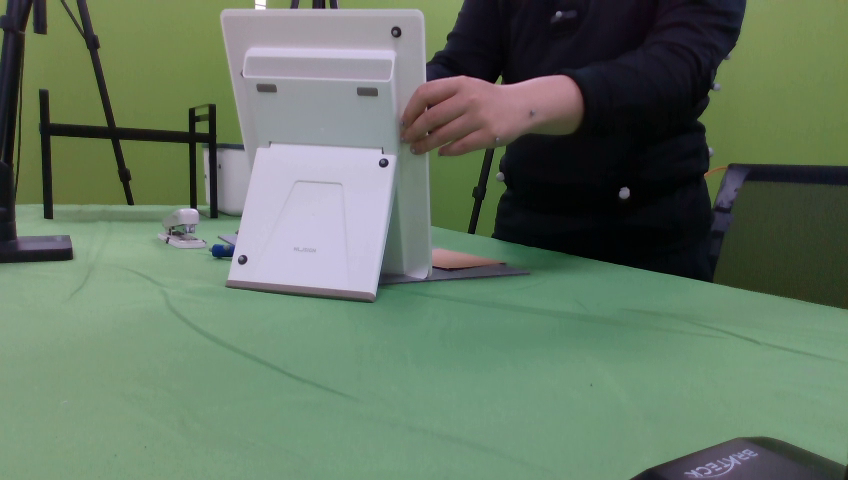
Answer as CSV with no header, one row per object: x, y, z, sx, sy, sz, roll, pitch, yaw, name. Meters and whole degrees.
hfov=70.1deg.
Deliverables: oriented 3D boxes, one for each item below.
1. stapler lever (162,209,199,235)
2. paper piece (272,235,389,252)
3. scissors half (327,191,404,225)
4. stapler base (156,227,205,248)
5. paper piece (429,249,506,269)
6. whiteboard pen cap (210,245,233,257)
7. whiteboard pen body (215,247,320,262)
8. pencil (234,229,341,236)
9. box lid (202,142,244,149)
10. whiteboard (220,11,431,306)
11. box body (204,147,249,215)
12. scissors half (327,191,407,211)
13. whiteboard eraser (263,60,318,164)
-0.376,-0.031,0.933,0.027,0.040,0.117,0,7,-38,stapler lever
-0.151,0.003,0.978,0.135,0.008,0.139,13,10,35,paper piece
-0.128,-0.072,1.320,0.175,0.040,0.013,22,8,-6,scissors half
-0.376,-0.007,0.934,0.041,0.024,0.130,0,6,-38,stapler base
0.025,0.026,0.865,0.134,0.004,0.136,9,10,43,paper piece
-0.266,0.015,0.806,0.033,0.018,0.018,2,7,-1,whiteboard pen cap
-0.208,0.018,0.804,0.141,0.017,0.017,3,7,1,whiteboard pen body
-0.232,-0.012,1.053,0.195,0.012,0.012,0,8,-36,pencil
-0.345,-0.225,1.509,0.373,0.015,0.262,-2,8,-31,box lid
-0.119,-0.064,0.619,0.217,0.305,0.144,5,29,13,whiteboard
-0.347,-0.152,1.519,0.366,0.160,0.253,-2,9,-31,box body
-0.123,-0.092,1.315,0.175,0.040,0.013,6,15,-4,scissors half
-0.151,-0.142,0.682,0.055,0.112,0.042,12,31,12,whiteboard eraser
